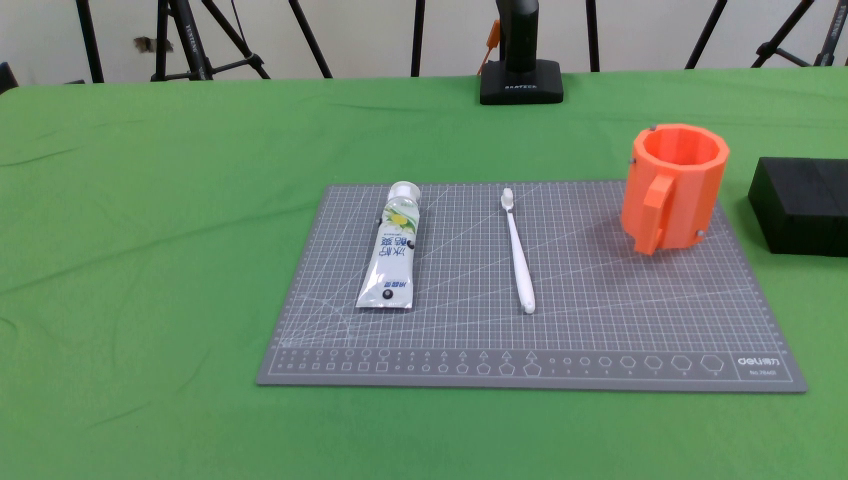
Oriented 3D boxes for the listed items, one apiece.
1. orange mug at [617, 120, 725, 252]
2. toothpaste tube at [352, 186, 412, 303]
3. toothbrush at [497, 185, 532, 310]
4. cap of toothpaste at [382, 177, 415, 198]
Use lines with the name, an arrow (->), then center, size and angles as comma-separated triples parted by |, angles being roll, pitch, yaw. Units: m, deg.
orange mug -> 0.236, -0.049, 0.600 | 0.083, 0.102, 0.126 | 19, 42, 27
toothpaste tube -> -0.037, 0.000, 0.625 | 0.055, 0.035, 0.163 | -4, 44, 9
toothbrush -> 0.092, 0.001, 0.619 | 0.014, 0.017, 0.180 | 6, 41, -7
cap of toothpaste -> -0.029, -0.055, 0.678 | 0.037, 0.038, 0.011 | 2, 47, 8
